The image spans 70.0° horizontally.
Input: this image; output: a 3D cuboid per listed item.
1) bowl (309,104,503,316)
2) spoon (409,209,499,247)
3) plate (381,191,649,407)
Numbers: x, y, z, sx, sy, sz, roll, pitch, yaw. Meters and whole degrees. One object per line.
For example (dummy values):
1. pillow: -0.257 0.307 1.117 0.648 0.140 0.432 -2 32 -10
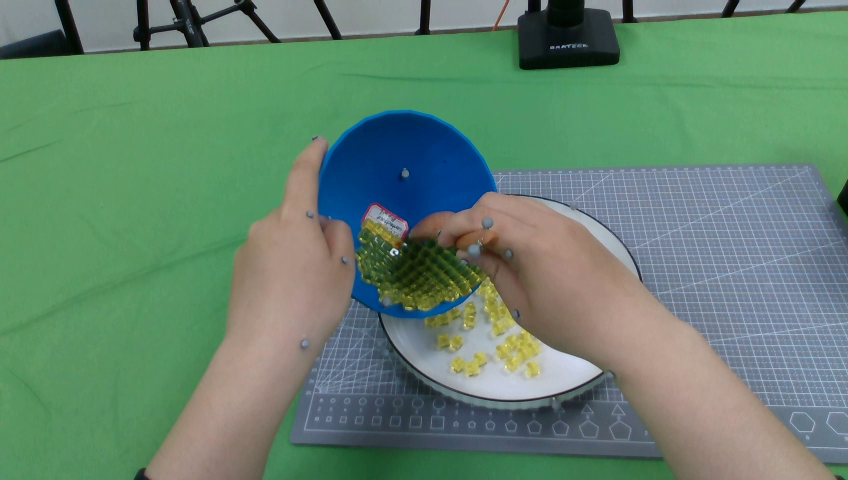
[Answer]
1. bowl: -0.024 -0.019 0.460 0.151 0.152 0.076 -39 15 -26
2. spoon: 0.020 -0.006 0.386 0.041 0.022 0.193 -23 9 -7
3. plate: 0.069 0.043 0.488 0.207 0.039 0.205 -4 47 4
